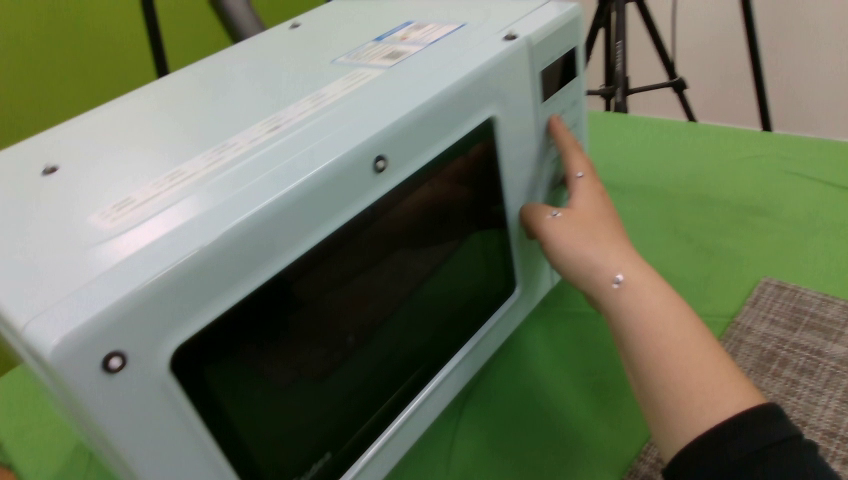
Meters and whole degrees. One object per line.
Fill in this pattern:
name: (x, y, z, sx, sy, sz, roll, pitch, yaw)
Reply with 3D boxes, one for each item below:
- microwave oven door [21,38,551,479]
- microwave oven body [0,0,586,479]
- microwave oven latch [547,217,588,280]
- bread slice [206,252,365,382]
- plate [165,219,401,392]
microwave oven door: (-0.029, 0.043, 0.414, 0.039, 0.246, 0.355, 17, 45, 38)
microwave oven body: (-0.111, -0.009, 0.530, 0.323, 0.263, 0.441, 18, 46, 38)
microwave oven latch: (0.131, 0.007, 0.593, 0.030, 0.030, 0.079, 20, 47, 39)
bread slice: (-0.120, 0.057, 0.539, 0.131, 0.019, 0.104, -36, 40, -24)
plate: (-0.118, 0.054, 0.533, 0.209, 0.038, 0.207, -10, 34, 8)
